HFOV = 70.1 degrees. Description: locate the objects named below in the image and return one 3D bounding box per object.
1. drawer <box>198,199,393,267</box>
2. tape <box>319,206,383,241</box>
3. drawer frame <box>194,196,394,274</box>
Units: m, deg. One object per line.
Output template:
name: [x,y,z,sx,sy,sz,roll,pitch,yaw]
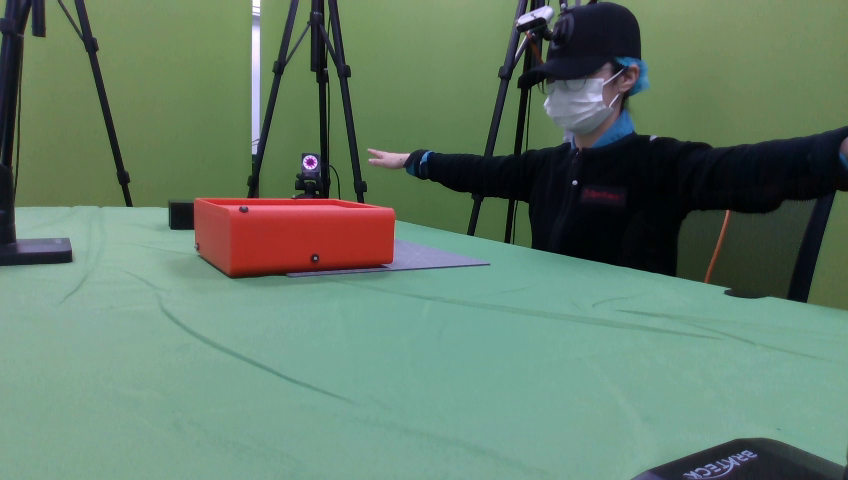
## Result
drawer: [-0.177,-0.014,0.817,0.213,0.073,0.193,-3,9,-31]
tape: [-0.129,-0.030,1.076,0.117,0.052,0.117,2,8,0]
drawer frame: [-0.178,-0.014,0.815,0.215,0.082,0.200,-4,9,-32]
